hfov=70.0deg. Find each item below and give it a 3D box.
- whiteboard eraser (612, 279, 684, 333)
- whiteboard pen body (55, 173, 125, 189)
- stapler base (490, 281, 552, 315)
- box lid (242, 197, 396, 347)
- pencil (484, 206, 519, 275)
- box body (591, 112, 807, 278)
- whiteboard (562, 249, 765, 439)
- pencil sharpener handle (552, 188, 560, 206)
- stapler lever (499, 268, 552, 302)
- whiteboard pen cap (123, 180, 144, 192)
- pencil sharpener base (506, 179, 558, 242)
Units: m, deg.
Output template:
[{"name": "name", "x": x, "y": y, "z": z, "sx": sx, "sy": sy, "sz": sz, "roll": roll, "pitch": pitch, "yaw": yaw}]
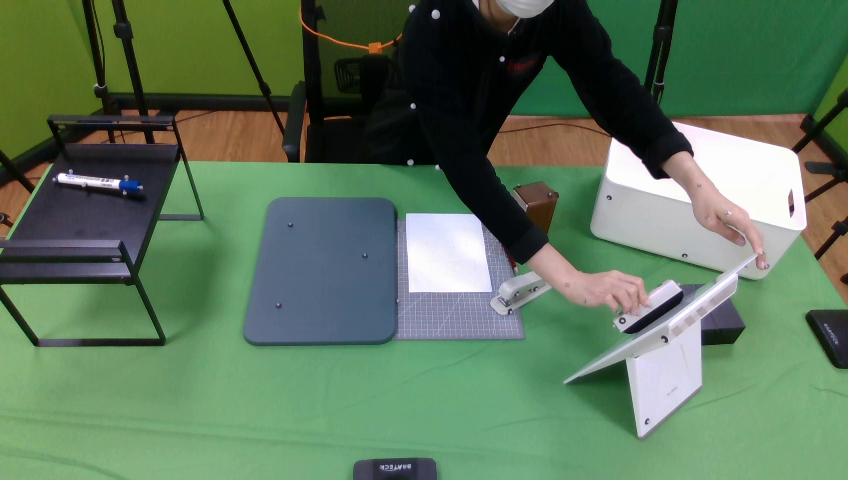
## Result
[{"name": "whiteboard eraser", "x": 0.352, "y": 0.107, "z": 0.953, "sx": 0.113, "sy": 0.055, "sz": 0.042, "roll": -37, "pitch": 83, "yaw": 9}, {"name": "whiteboard pen body", "x": -0.539, "y": -0.095, "z": 0.998, "sx": 0.141, "sy": 0.017, "sz": 0.017, "roll": 6, "pitch": 46, "yaw": 6}, {"name": "stapler base", "x": 0.182, "y": 0.095, "z": 1.118, "sx": 0.130, "sy": 0.024, "sz": 0.041, "roll": -24, "pitch": 57, "yaw": -29}, {"name": "box lid", "x": -0.186, "y": 0.046, "z": 1.147, "sx": 0.263, "sy": 0.015, "sz": 0.369, "roll": 0, "pitch": 46, "yaw": -3}, {"name": "pencil", "x": 0.156, "y": -0.002, "z": 1.218, "sx": 0.012, "sy": 0.012, "sz": 0.192, "roll": -9, "pitch": 48, "yaw": -13}, {"name": "box body", "x": 0.540, "y": -0.092, "z": 1.230, "sx": 0.363, "sy": 0.161, "sz": 0.253, "roll": 16, "pitch": 47, "yaw": 11}, {"name": "whiteboard", "x": 0.387, "y": 0.176, "z": 0.905, "sx": 0.217, "sy": 0.306, "sz": 0.143, "roll": -26, "pitch": 72, "yaw": -26}, {"name": "pencil sharpener handle", "x": 0.261, "y": -0.084, "z": 1.221, "sx": 0.031, "sy": 0.068, "sz": 0.036, "roll": -16, "pitch": 66, "yaw": -19}, {"name": "stapler lever", "x": 0.185, "y": 0.077, "z": 1.101, "sx": 0.118, "sy": 0.040, "sz": 0.026, "roll": -24, "pitch": 57, "yaw": -29}, {"name": "whiteboard pen cap", "x": -0.479, "y": -0.088, "z": 0.993, "sx": 0.033, "sy": 0.018, "sz": 0.018, "roll": 7, "pitch": 46, "yaw": 14}, {"name": "pencil sharpener base", "x": 0.216, "y": -0.059, "z": 1.211, "sx": 0.077, "sy": 0.107, "sz": 0.061, "roll": -16, "pitch": 49, "yaw": -19}]
